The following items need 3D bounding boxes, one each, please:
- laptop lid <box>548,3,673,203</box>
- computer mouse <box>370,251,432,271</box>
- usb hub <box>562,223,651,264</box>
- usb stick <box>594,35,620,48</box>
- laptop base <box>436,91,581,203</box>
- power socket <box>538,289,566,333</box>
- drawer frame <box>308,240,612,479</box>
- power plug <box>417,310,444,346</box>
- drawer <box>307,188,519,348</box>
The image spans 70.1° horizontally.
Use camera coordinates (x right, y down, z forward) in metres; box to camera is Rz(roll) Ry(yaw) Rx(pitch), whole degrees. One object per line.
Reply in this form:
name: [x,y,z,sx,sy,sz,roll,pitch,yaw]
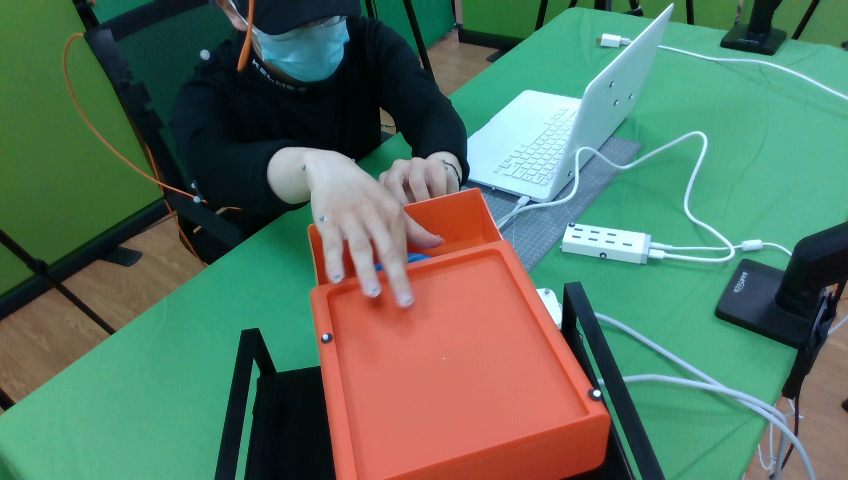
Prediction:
laptop lid: [0.320,-0.235,1.026,0.013,0.242,0.357,31,50,20]
computer mouse: [-0.009,0.043,0.623,0.116,0.041,0.063,21,48,39]
usb hub: [0.279,0.004,0.926,0.124,0.025,0.049,10,43,19]
usb stick: [0.443,-0.482,1.466,0.059,0.021,0.027,10,43,10]
laptop base: [0.215,-0.193,1.172,0.233,0.023,0.355,19,46,32]
power socket: [0.081,0.111,0.822,0.227,0.033,0.072,-6,41,0]
drawer frame: [0.018,0.110,0.516,0.202,0.083,0.212,-14,40,-8]
power plug: [0.006,0.123,0.785,0.035,0.053,0.072,2,39,9]
drawer: [-0.006,0.050,0.595,0.195,0.073,0.210,-12,40,-6]
